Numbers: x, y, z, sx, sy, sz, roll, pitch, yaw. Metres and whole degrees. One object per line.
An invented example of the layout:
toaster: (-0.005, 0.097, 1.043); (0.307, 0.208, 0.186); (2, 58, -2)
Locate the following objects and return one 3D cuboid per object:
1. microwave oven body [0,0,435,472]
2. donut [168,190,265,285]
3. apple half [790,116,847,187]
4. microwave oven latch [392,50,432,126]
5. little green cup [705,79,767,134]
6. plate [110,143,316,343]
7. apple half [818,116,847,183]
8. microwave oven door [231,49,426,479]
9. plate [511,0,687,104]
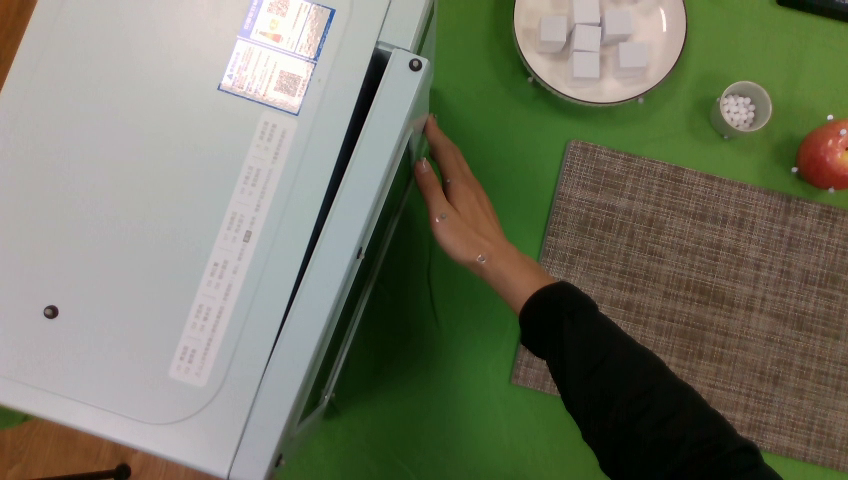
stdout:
microwave oven body: (-0.209, -0.062, 0.590); (0.326, 0.260, 0.441); (18, 85, 0)
donut: (-0.213, -0.001, 0.623); (0.099, 0.048, 0.099); (0, 87, 1)
apple half: (0.459, -0.098, 0.703); (0.053, 0.075, 0.080); (-12, 88, 3)
microwave oven latch: (-0.014, -0.174, 0.700); (0.030, 0.029, 0.079); (20, 85, 1)
little green cup: (0.370, -0.157, 0.724); (0.061, 0.039, 0.061); (0, 84, 0)
plate: (-0.217, 0.003, 0.637); (0.209, 0.038, 0.208); (0, 85, -1)
apple half: (0.497, -0.107, 0.703); (0.033, 0.081, 0.081); (-12, 84, 3)
microwave oven door: (-0.076, 0.026, 0.579); (0.039, 0.244, 0.355); (20, 84, 2)
plate: (0.207, -0.262, 0.731); (0.208, 0.039, 0.207); (0, 85, -1)
